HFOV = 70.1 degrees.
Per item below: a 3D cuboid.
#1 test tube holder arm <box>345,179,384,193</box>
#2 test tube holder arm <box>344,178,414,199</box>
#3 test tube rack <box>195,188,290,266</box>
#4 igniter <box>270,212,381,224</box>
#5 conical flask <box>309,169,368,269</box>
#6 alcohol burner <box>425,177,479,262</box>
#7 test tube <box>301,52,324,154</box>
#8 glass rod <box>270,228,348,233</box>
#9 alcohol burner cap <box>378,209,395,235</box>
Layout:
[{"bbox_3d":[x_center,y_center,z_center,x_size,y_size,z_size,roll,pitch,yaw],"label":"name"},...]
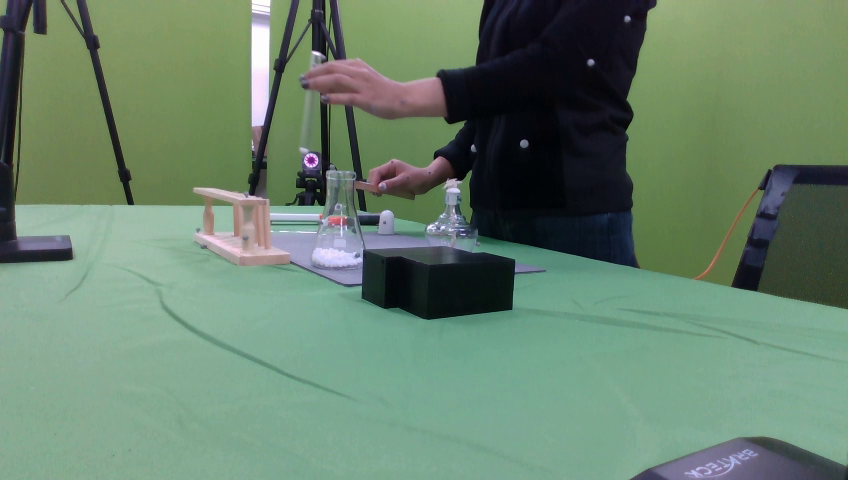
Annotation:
[{"bbox_3d":[-0.111,-0.103,1.149,0.010,0.015,0.088,23,10,42],"label":"test tube holder arm"},{"bbox_3d":[-0.084,-0.100,1.186,0.013,0.015,0.179,22,10,42],"label":"test tube holder arm"},{"bbox_3d":[-0.266,-0.025,0.864,0.067,0.085,0.241,-2,9,-33],"label":"test tube rack"},{"bbox_3d":[-0.213,-0.048,1.279,0.278,0.025,0.057,-1,-2,-24],"label":"igniter"},{"bbox_3d":[-0.107,-0.028,0.762,0.075,0.122,0.075,2,7,0],"label":"conical flask"},{"bbox_3d":[0.040,-0.029,0.853,0.078,0.119,0.078,2,10,0],"label":"alcohol burner"},{"bbox_3d":[-0.168,-0.203,0.903,0.017,0.150,0.017,9,7,-1],"label":"test tube"},{"bbox_3d":[-0.235,-0.017,1.105,0.201,0.008,0.008,1,7,-26],"label":"glass rod"},{"bbox_3d":[-0.070,-0.035,1.145,0.034,0.048,0.034,2,8,0],"label":"alcohol burner cap"}]
